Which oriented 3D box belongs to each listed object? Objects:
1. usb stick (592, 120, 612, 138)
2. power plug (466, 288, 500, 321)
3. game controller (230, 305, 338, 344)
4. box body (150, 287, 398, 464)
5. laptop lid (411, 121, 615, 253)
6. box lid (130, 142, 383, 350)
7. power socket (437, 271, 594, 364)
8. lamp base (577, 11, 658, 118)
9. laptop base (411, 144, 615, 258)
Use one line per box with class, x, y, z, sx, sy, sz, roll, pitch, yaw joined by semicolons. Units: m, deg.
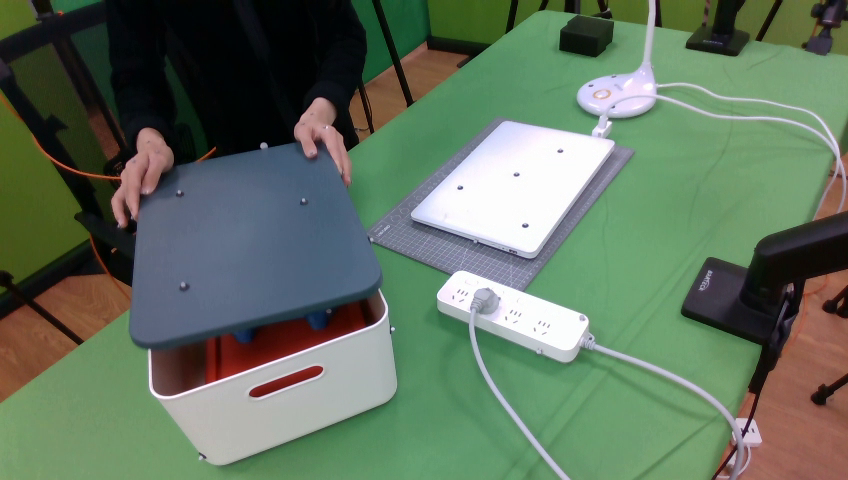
usb stick;0.335;-0.203;1.149;0.021;0.027;0.059;25;53;26
power plug;0.072;0.093;0.813;0.035;0.053;0.073;30;54;35
game controller;-0.186;0.077;0.778;0.155;0.052;0.096;-8;45;-2
box body;-0.205;0.080;0.802;0.255;0.161;0.361;-18;41;-13
laptop lid;0.164;-0.112;1.068;0.240;0.013;0.357;19;46;31
box lid;-0.218;-0.018;0.753;0.264;0.015;0.368;-14;38;-14
power socket;0.118;0.102;0.830;0.225;0.033;0.072;20;48;28
lamp base;0.406;-0.363;1.223;0.180;0.181;0.159;-20;42;-18
laptop base;0.167;-0.102;1.074;0.234;0.023;0.355;16;45;30
